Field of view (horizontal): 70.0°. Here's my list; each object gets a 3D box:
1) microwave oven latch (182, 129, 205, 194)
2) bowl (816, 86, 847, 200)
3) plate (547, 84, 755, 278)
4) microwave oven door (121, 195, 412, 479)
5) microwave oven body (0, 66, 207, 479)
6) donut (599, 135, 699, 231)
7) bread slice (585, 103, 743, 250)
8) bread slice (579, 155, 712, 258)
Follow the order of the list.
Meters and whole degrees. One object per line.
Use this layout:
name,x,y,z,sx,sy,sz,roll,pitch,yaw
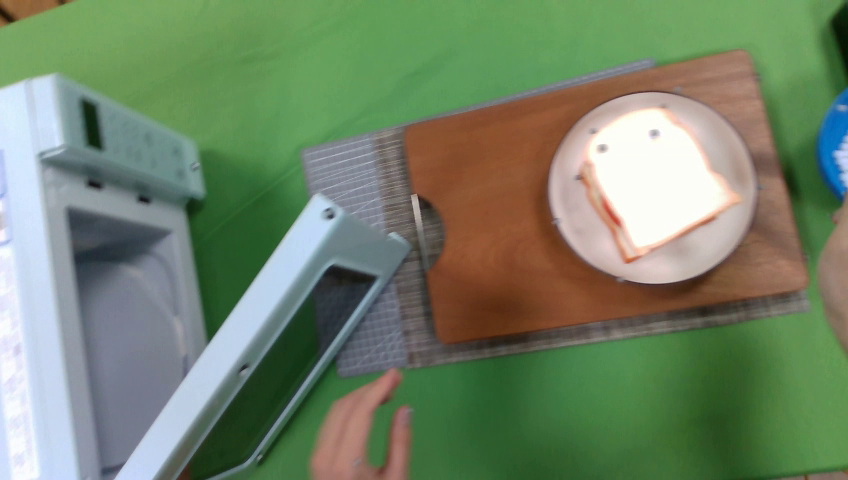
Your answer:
microwave oven latch,-0.308,-0.101,0.784,0.030,0.029,0.079,-14,82,10
bowl,0.471,-0.092,0.614,0.151,0.077,0.151,-1,84,12
plate,0.238,-0.061,0.651,0.207,0.039,0.207,-1,84,12
microwave oven door,-0.154,0.123,0.622,0.039,0.245,0.356,36,92,15
microwave oven body,-0.434,0.092,0.690,0.326,0.261,0.440,-14,81,10
donut,0.230,-0.058,0.623,0.098,0.048,0.099,-3,83,26
bread slice,0.222,-0.068,0.595,0.107,0.018,0.133,-33,72,8
bread slice,0.231,-0.059,0.656,0.105,0.019,0.131,-29,82,5
